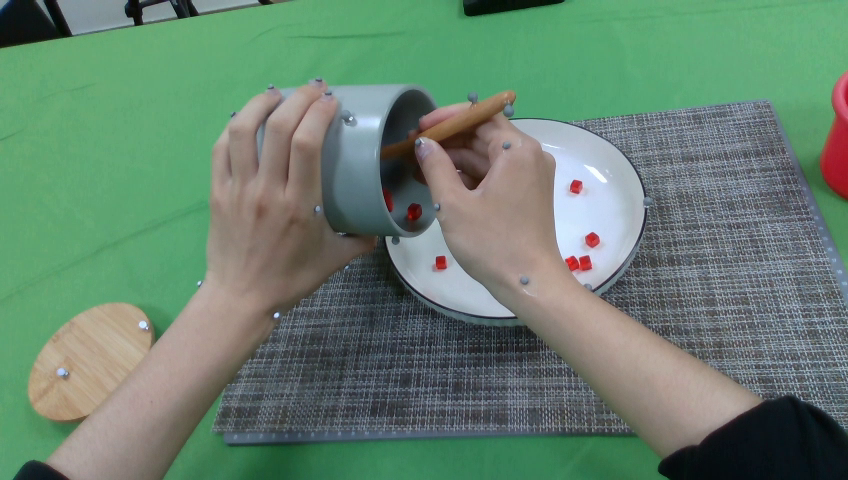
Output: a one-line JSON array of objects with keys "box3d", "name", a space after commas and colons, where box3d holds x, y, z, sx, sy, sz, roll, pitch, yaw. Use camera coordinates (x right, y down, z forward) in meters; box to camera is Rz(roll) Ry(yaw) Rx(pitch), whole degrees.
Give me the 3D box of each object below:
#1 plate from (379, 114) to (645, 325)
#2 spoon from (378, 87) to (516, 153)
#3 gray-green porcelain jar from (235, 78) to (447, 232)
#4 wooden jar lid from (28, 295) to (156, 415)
[{"box3d": [0.068, -0.019, 0.490, 0.207, 0.039, 0.205, -7, 52, 9], "name": "plate"}, {"box3d": [-0.019, -0.069, 0.405, 0.193, 0.022, 0.041, -10, 49, 38], "name": "spoon"}, {"box3d": [-0.062, -0.062, 0.440, 0.126, 0.107, 0.105, 6, 55, 26], "name": "gray-green porcelain jar"}, {"box3d": [-0.273, 0.096, 0.507, 0.108, 0.021, 0.107, -6, 52, 8], "name": "wooden jar lid"}]
